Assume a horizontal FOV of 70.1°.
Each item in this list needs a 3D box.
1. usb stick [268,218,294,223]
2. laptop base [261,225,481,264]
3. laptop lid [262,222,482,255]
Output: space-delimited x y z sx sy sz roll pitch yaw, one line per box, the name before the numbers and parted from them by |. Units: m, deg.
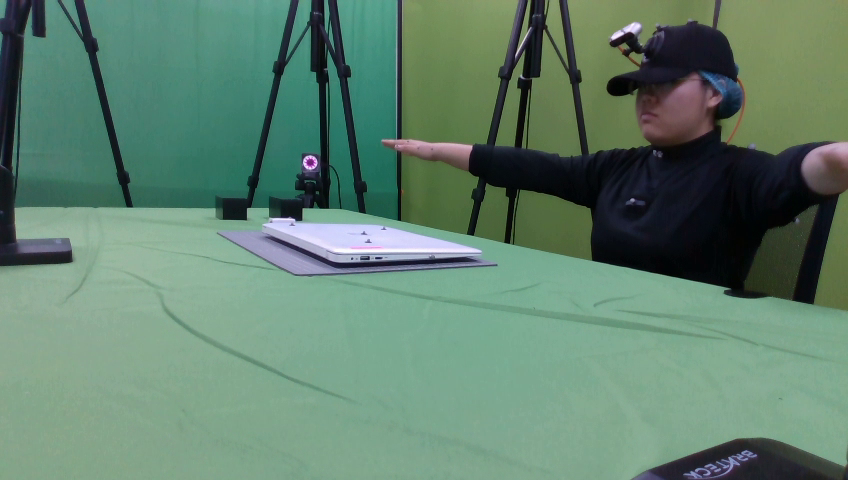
usb stick | -0.272 -0.027 1.119 0.059 0.027 0.021 -7 11 -35
laptop base | -0.101 0.006 0.965 0.237 0.023 0.352 2 6 -31
laptop lid | -0.098 -0.005 0.964 0.243 0.013 0.355 1 7 -29
